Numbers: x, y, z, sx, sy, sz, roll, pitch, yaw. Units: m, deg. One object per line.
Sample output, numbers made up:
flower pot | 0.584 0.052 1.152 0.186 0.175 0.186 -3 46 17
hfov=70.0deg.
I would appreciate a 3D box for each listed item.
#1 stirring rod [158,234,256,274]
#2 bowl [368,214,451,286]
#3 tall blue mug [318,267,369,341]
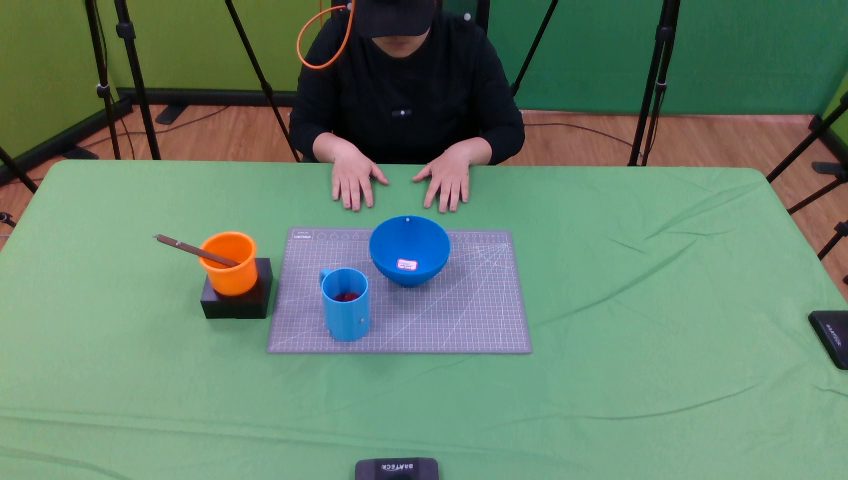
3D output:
stirring rod | -0.354 0.024 0.999 0.177 0.006 0.014 27 29 -40
bowl | -0.028 0.031 1.122 0.151 0.077 0.150 2 46 -2
tall blue mug | -0.146 0.104 1.022 0.107 0.108 0.077 19 49 14
